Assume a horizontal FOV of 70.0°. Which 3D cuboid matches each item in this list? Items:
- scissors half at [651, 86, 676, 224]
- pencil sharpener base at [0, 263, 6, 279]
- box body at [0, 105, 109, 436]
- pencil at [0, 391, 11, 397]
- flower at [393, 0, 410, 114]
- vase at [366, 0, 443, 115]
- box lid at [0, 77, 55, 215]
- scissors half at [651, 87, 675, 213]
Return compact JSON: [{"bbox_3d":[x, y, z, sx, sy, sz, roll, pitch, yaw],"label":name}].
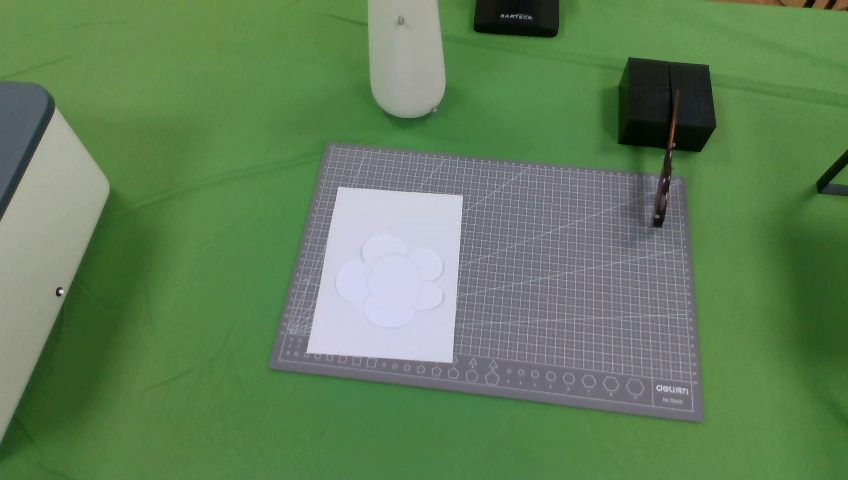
[{"bbox_3d":[0.286,-0.102,0.717,0.012,0.040,0.174,9,81,21],"label":"scissors half"},{"bbox_3d":[-0.517,0.010,0.641,0.076,0.108,0.061,40,70,20],"label":"pencil sharpener base"},{"bbox_3d":[-0.519,0.025,0.610,0.254,0.161,0.361,6,63,4],"label":"box body"},{"bbox_3d":[-0.521,0.144,0.628,0.194,0.012,0.012,10,63,3],"label":"pencil"},{"bbox_3d":[-0.032,-0.295,0.657,0.044,0.365,0.038,-1,45,4],"label":"flower"},{"bbox_3d":[-0.026,-0.244,0.725,0.098,0.201,0.097,-1,61,2],"label":"vase"},{"bbox_3d":[-0.520,-0.011,0.546,0.263,0.015,0.368,6,64,4],"label":"box lid"},{"bbox_3d":[0.280,-0.109,0.699,0.013,0.040,0.174,10,63,16],"label":"scissors half"}]
